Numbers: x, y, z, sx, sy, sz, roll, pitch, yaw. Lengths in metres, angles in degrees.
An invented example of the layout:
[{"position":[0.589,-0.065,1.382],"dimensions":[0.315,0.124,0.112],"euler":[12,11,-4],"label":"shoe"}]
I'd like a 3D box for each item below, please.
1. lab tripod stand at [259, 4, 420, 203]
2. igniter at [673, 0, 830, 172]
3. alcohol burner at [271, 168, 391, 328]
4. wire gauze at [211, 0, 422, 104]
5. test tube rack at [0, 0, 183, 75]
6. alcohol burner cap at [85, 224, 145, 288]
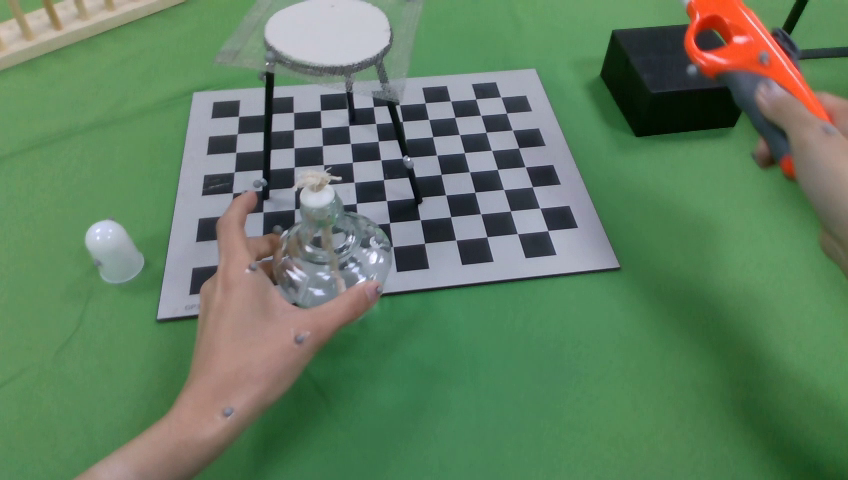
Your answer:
[{"position":[-0.066,-0.101,0.473],"dimensions":[0.148,0.132,0.147],"euler":[2,49,-2],"label":"lab tripod stand"},{"position":[0.203,-0.165,0.435],"dimensions":[0.057,0.025,0.274],"euler":[-26,62,13],"label":"igniter"},{"position":[-0.061,0.003,0.385],"dimensions":[0.078,0.120,0.077],"euler":[-1,49,2],"label":"alcohol burner"},{"position":[-0.068,-0.141,0.419],"dimensions":[0.125,0.011,0.120],"euler":[8,50,4],"label":"wire gauze"},{"position":[-0.388,-0.254,0.628],"dimensions":[0.242,0.086,0.066],"euler":[-35,59,-26],"label":"test tube rack"},{"position":[-0.229,0.009,0.443],"dimensions":[0.034,0.048,0.033],"euler":[1,50,-1],"label":"alcohol burner cap"}]
